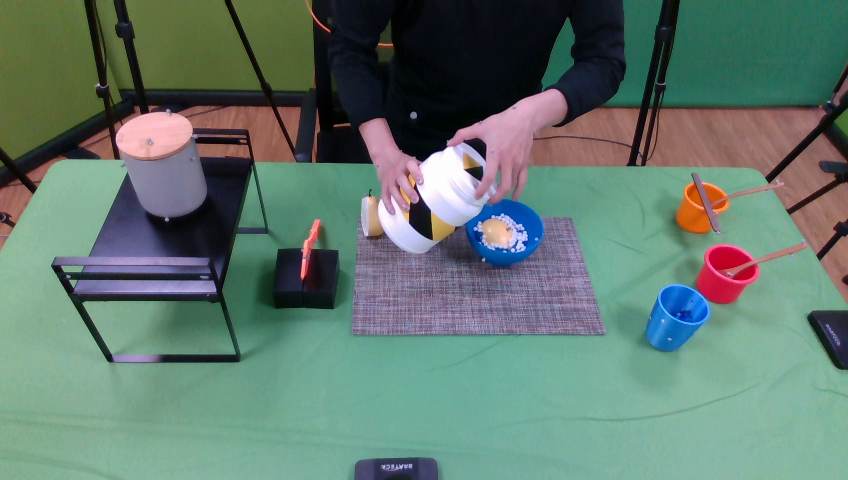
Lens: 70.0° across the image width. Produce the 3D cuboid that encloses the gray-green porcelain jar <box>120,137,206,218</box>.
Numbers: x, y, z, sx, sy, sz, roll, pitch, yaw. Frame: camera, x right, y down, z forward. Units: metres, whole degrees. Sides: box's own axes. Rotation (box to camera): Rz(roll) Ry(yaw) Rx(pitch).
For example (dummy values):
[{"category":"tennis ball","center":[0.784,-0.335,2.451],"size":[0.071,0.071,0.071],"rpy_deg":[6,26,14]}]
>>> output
[{"category":"gray-green porcelain jar","center":[-0.403,-0.106,0.946],"size":[0.106,0.127,0.105],"rpy_deg":[3,46,-2]}]

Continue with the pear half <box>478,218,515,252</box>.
[{"category":"pear half","center":[0.144,-0.013,1.167],"size":[0.070,0.031,0.087],"rpy_deg":[-20,56,-20]}]

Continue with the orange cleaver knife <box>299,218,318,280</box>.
[{"category":"orange cleaver knife","center":[-0.214,0.013,1.125],"size":[0.012,0.077,0.210],"rpy_deg":[6,17,-5]}]

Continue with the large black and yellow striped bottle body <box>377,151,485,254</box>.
[{"category":"large black and yellow striped bottle body","center":[0.020,-0.073,1.060],"size":[0.131,0.184,0.130],"rpy_deg":[32,39,-30]}]

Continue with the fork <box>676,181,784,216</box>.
[{"category":"fork","center":[0.618,-0.084,1.235],"size":[0.207,0.019,0.028],"rpy_deg":[-23,21,38]}]

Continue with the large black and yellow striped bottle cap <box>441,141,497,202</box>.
[{"category":"large black and yellow striped bottle cap","center":[0.076,-0.115,1.014],"size":[0.115,0.019,0.114],"rpy_deg":[32,37,-28]}]

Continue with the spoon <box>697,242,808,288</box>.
[{"category":"spoon","center":[0.601,0.045,1.116],"size":[0.194,0.022,0.041],"rpy_deg":[-29,34,30]}]

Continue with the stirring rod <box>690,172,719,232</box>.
[{"category":"stirring rod","center":[0.566,-0.080,1.225],"size":[0.014,0.006,0.175],"rpy_deg":[3,46,2]}]

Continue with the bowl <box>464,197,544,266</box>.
[{"category":"bowl","center":[0.149,-0.004,1.167],"size":[0.151,0.077,0.150],"rpy_deg":[2,46,-2]}]

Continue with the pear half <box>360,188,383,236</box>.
[{"category":"pear half","center":[-0.096,-0.060,1.181],"size":[0.056,0.110,0.076],"rpy_deg":[-13,52,-17]}]

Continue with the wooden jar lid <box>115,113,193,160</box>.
[{"category":"wooden jar lid","center":[-0.399,-0.151,0.900],"size":[0.108,0.021,0.107],"rpy_deg":[3,46,-3]}]

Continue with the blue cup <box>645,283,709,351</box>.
[{"category":"blue cup","center":[0.426,0.139,1.041],"size":[0.093,0.101,0.092],"rpy_deg":[3,46,-3]}]
